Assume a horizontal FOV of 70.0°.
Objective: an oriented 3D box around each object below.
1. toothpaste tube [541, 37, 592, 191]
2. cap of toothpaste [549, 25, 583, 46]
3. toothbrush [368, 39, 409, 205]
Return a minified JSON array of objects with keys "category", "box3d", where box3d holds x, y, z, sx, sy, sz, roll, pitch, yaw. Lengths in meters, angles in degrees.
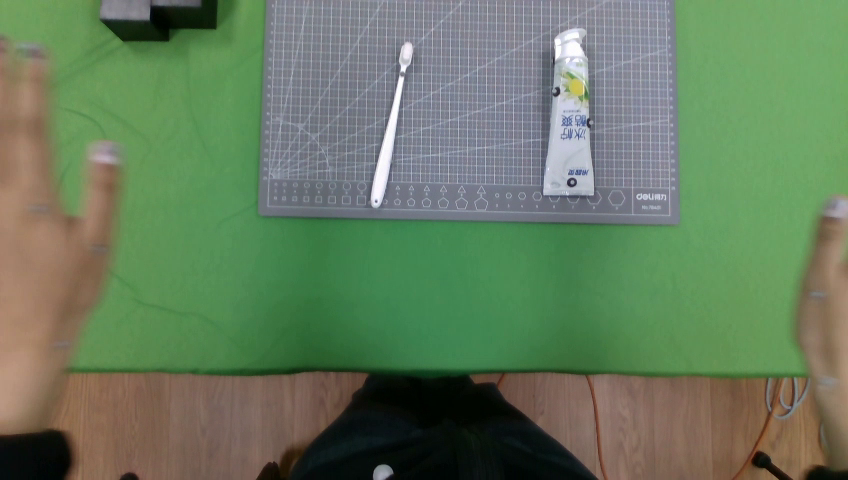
[{"category":"toothpaste tube","box3d":[0.152,-0.135,0.648,0.055,0.034,0.165,-1,89,5]},{"category":"cap of toothpaste","box3d":[0.153,-0.217,0.649,0.037,0.037,0.011,-12,82,-4]},{"category":"toothbrush","box3d":[-0.037,-0.126,0.644,0.014,0.016,0.181,12,86,-15]}]
